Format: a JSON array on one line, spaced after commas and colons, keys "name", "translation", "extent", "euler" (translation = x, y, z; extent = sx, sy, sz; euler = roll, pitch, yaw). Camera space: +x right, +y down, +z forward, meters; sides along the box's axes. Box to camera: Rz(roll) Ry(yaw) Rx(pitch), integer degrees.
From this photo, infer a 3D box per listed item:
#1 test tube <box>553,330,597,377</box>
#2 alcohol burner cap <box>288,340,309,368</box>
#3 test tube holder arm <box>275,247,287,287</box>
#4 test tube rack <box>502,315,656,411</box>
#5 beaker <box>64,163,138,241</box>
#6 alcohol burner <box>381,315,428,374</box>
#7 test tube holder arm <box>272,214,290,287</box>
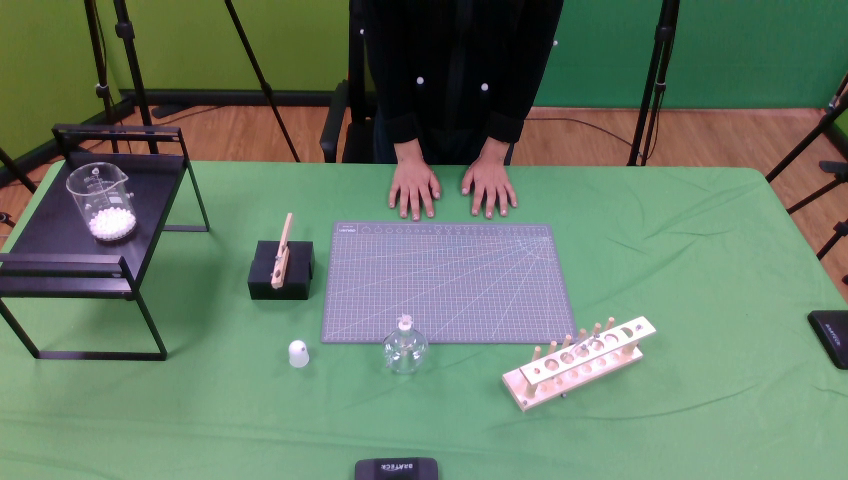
[{"name": "test tube", "translation": [0.226, 0.176, 0.924], "extent": [0.017, 0.151, 0.017], "euler": [6, 55, -9]}, {"name": "alcohol burner cap", "translation": [-0.207, 0.183, 0.991], "extent": [0.034, 0.048, 0.033], "euler": [3, 46, -2]}, {"name": "test tube holder arm", "translation": [-0.251, 0.046, 1.068], "extent": [0.010, 0.015, 0.087], "euler": [-1, 45, -3]}, {"name": "test tube rack", "translation": [0.253, 0.186, 0.989], "extent": [0.242, 0.085, 0.066], "euler": [-18, 50, -20]}, {"name": "beaker", "translation": [-0.477, -0.055, 0.910], "extent": [0.084, 0.101, 0.073], "euler": [-9, 48, -13]}, {"name": "alcohol burner", "translation": [-0.031, 0.162, 0.973], "extent": [0.078, 0.120, 0.077], "euler": [2, 44, -1]}, {"name": "test tube holder arm", "translation": [-0.259, 0.015, 1.099], "extent": [0.013, 0.015, 0.177], "euler": [-1, 45, -4]}]
